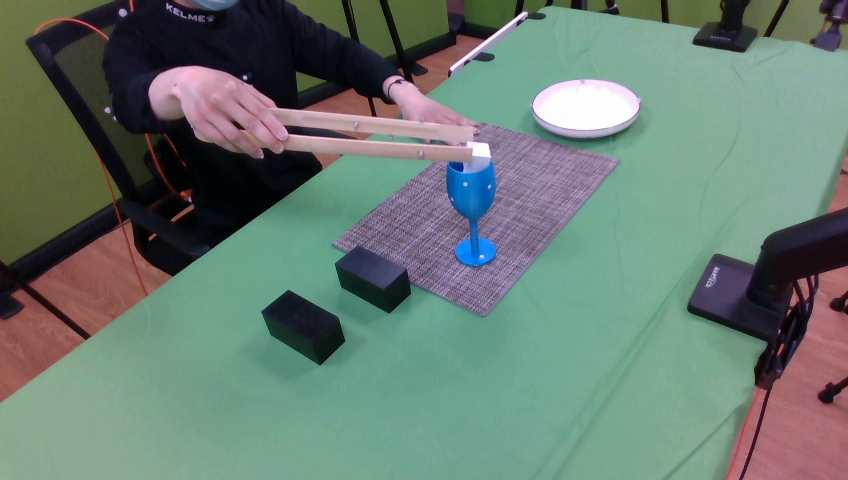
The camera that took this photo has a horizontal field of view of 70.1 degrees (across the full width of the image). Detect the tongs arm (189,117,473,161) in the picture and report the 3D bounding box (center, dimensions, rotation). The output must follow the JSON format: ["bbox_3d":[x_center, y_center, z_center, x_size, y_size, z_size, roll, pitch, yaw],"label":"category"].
[{"bbox_3d":[-0.128,-0.133,0.809,0.387,0.028,0.028,5,48,3],"label":"tongs arm"}]

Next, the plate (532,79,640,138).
[{"bbox_3d":[0.322,-0.259,1.212,0.209,0.038,0.208,-4,40,4],"label":"plate"}]

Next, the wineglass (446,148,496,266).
[{"bbox_3d":[0.072,-0.045,0.889,0.074,0.173,0.073,-4,41,4],"label":"wineglass"}]

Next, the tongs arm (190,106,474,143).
[{"bbox_3d":[-0.125,-0.153,0.831,0.384,0.026,0.050,7,45,5],"label":"tongs arm"}]
